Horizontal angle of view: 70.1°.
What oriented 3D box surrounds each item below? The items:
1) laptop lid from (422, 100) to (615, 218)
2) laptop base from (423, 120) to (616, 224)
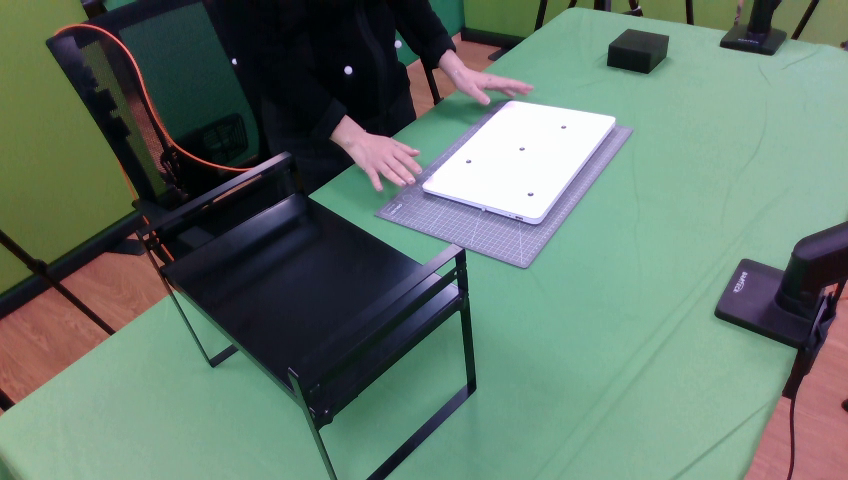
[{"bbox_3d":[0.183,-0.167,1.126,0.240,0.013,0.357,19,47,31],"label":"laptop lid"},{"bbox_3d":[0.186,-0.158,1.133,0.234,0.023,0.355,17,46,30],"label":"laptop base"}]
